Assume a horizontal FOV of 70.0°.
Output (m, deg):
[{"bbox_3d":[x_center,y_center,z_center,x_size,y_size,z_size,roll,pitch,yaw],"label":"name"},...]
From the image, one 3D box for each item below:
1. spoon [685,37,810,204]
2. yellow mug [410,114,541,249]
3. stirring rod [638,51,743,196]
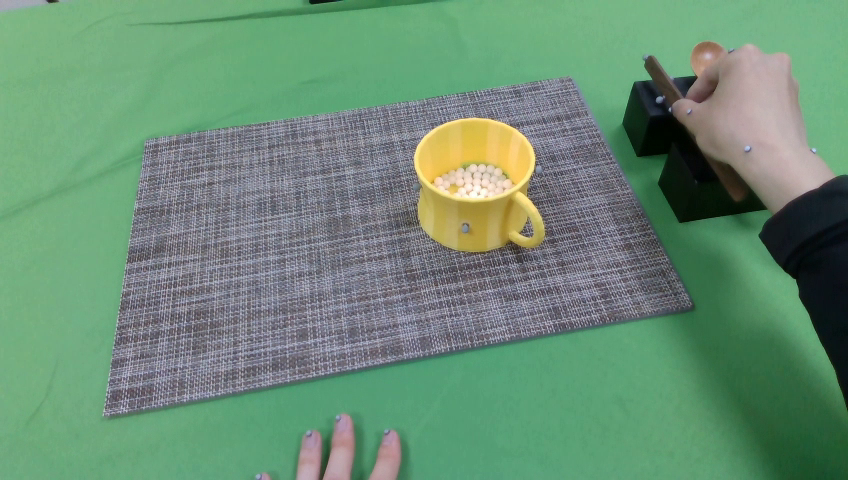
[{"bbox_3d":[0.278,-0.109,0.524,0.042,0.022,0.191,-9,54,-5],"label":"spoon"},{"bbox_3d":[0.050,-0.042,0.512,0.100,0.064,0.129,-36,60,-22],"label":"yellow mug"},{"bbox_3d":[0.225,-0.106,0.520,0.006,0.014,0.174,-2,52,-19],"label":"stirring rod"}]
